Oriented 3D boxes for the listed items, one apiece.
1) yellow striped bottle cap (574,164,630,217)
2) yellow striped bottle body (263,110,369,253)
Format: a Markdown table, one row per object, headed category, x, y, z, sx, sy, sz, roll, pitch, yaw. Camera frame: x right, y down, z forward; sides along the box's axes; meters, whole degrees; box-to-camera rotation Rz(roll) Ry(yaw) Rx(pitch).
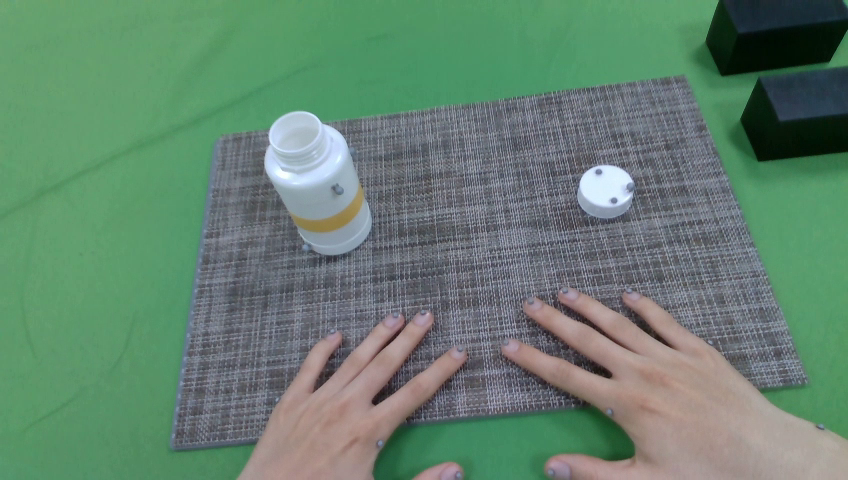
| category | x | y | z | sx | sy | sz | roll | pitch | yaw |
| --- | --- | --- | --- | --- | --- | --- | --- | --- | --- |
| yellow striped bottle cap | 0.148 | -0.042 | 0.505 | 0.044 | 0.019 | 0.044 | -2 | 58 | 3 |
| yellow striped bottle body | -0.085 | -0.046 | 0.474 | 0.063 | 0.121 | 0.062 | -3 | 58 | 6 |
